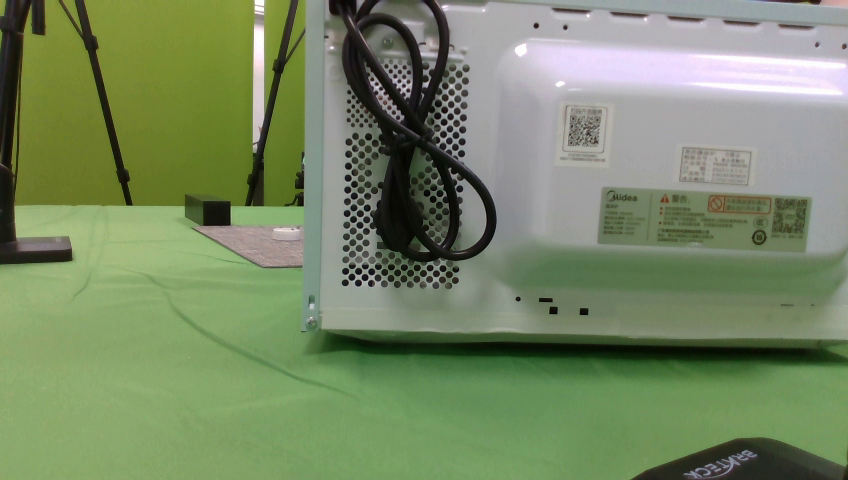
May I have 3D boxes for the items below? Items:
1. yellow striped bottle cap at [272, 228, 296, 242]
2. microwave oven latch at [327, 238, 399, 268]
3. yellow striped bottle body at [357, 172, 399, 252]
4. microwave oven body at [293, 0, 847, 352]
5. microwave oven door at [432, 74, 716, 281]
[{"bbox_3d":[-0.232,-0.008,1.012,0.044,0.018,0.044,3,9,0],"label":"yellow striped bottle cap"},{"bbox_3d":[-0.069,0.015,0.694,0.079,0.029,0.030,3,7,-3],"label":"microwave oven latch"},{"bbox_3d":[-0.070,-0.044,0.933,0.063,0.120,0.063,2,8,0],"label":"yellow striped bottle body"},{"bbox_3d":[0.122,-0.055,0.550,0.442,0.260,0.325,3,7,-5],"label":"microwave oven body"},{"bbox_3d":[0.178,-0.089,0.793,0.354,0.243,0.039,6,9,28],"label":"microwave oven door"}]
